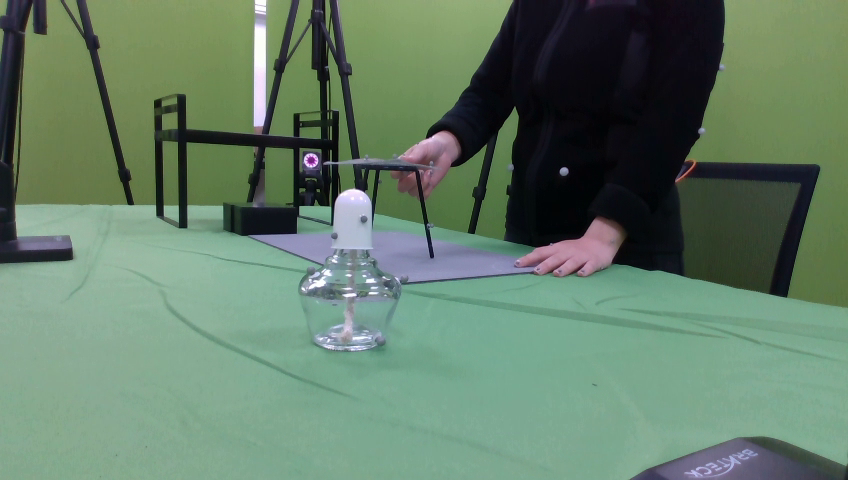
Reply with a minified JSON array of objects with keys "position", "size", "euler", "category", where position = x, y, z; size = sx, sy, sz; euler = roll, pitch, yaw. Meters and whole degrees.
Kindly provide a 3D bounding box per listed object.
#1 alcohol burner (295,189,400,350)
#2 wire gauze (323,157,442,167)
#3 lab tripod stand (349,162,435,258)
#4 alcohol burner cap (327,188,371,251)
[{"position":[-0.056,0.021,0.453],"size":[0.078,0.119,0.078],"euler":[3,6,0],"category":"alcohol burner"},{"position":[-0.056,-0.111,0.856],"size":[0.121,0.011,0.125],"euler":[7,9,31],"category":"wire gauze"},{"position":[-0.056,-0.044,0.863],"size":[0.148,0.131,0.148],"euler":[3,9,0],"category":"lab tripod stand"},{"position":[-0.055,-0.015,0.448],"size":[0.034,0.048,0.034],"euler":[0,1,0],"category":"alcohol burner cap"}]
